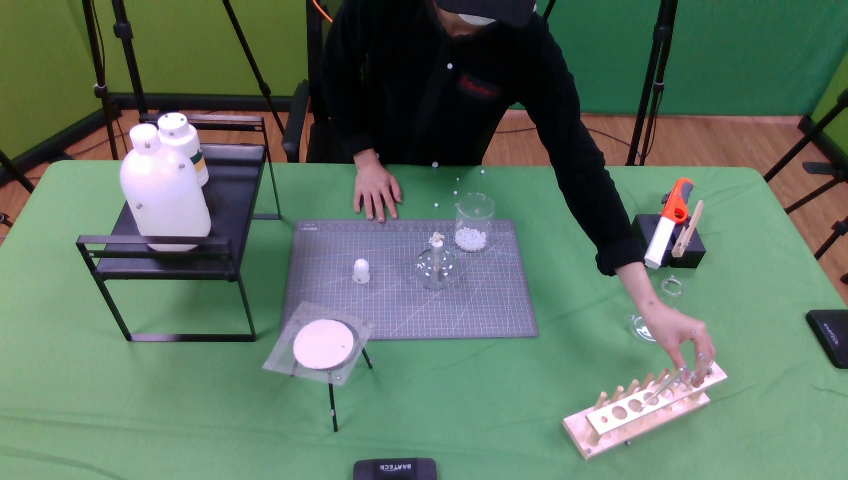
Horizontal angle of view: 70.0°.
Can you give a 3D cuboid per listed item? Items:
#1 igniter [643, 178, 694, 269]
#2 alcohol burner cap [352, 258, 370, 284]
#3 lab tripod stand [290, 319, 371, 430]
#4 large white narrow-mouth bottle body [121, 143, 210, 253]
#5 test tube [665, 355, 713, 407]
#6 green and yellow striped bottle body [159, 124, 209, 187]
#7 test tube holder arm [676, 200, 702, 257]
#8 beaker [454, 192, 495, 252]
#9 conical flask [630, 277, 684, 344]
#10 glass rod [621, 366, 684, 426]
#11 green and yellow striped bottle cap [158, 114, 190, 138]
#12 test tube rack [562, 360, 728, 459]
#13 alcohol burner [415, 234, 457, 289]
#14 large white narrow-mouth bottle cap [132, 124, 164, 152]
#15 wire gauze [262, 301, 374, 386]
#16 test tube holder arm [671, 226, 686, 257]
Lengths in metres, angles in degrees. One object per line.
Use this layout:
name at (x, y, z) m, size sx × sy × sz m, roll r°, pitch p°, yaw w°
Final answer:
igniter at (0.488, -0.042, 1.204) m, size 0.057 × 0.025 × 0.276 m, roll 30°, pitch 52°, yaw 11°
alcohol burner cap at (-0.117, 0.055, 1.118) m, size 0.034 × 0.048 × 0.033 m, roll 2°, pitch 46°, yaw -2°
lab tripod stand at (-0.146, 0.194, 0.923) m, size 0.148 × 0.132 × 0.147 m, roll 1°, pitch 47°, yaw -1°
large white narrow-mouth bottle body at (-0.378, -0.077, 0.875) m, size 0.102 × 0.195 × 0.101 m, roll 3°, pitch 46°, yaw -3°
test tube at (0.391, 0.214, 0.906) m, size 0.017 × 0.151 × 0.017 m, roll 3°, pitch 51°, yaw -4°
green and yellow striped bottle body at (-0.395, -0.145, 0.989) m, size 0.063 × 0.120 × 0.063 m, roll 2°, pitch 46°, yaw -2°
test tube holder arm at (0.522, -0.025, 1.190) m, size 0.013 × 0.015 × 0.178 m, roll -1°, pitch 35°, yaw 41°
beaker at (0.097, -0.034, 1.180) m, size 0.074 × 0.101 × 0.084 m, roll 23°, pitch 49°, yaw 17°
conical flask at (0.409, 0.118, 1.045) m, size 0.075 × 0.122 × 0.075 m, roll 2°, pitch 46°, yaw -2°
glass rod at (0.322, 0.227, 0.866) m, size 0.008 × 0.200 × 0.008 m, roll 6°, pitch 51°, yaw -7°
green and yellow striped bottle cap at (-0.392, -0.179, 0.951) m, size 0.045 × 0.020 × 0.045 m, roll 2°, pitch 44°, yaw -2°
test tube rack at (0.341, 0.248, 0.940) m, size 0.243 × 0.085 × 0.066 m, roll -16°, pitch 49°, yaw -18°
alcohol burner at (0.022, 0.034, 1.100) m, size 0.078 × 0.120 × 0.077 m, roll 1°, pitch 47°, yaw 0°
large white narrow-mouth bottle cap at (-0.370, -0.137, 0.812) m, size 0.038 × 0.024 × 0.037 m, roll 3°, pitch 46°, yaw -3°
wire gauze at (-0.150, 0.148, 0.873) m, size 0.121 × 0.011 × 0.124 m, roll 14°, pitch 46°, yaw 12°
test tube holder arm at (0.494, 0.001, 1.166) m, size 0.010 × 0.015 × 0.087 m, roll 0°, pitch 36°, yaw 42°
